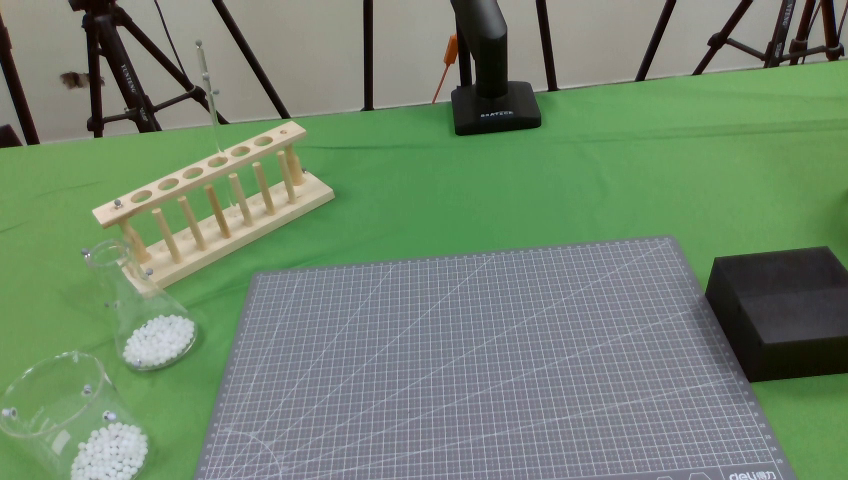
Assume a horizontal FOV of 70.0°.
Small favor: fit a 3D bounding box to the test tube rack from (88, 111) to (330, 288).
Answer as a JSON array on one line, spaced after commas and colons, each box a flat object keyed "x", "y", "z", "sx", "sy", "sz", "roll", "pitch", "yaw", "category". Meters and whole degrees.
[{"x": -0.233, "y": -0.052, "z": 0.690, "sx": 0.242, "sy": 0.086, "sz": 0.066, "roll": -32, "pitch": 47, "yaw": -26, "category": "test tube rack"}]

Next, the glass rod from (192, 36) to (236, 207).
[{"x": -0.230, "y": -0.123, "z": 0.669, "sx": 0.008, "sy": 0.201, "sz": 0.008, "roll": -1, "pitch": 34, "yaw": 1, "category": "glass rod"}]

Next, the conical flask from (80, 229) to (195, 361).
[{"x": -0.266, "y": 0.047, "z": 0.555, "sx": 0.075, "sy": 0.123, "sz": 0.074, "roll": -4, "pitch": 41, "yaw": 4, "category": "conical flask"}]

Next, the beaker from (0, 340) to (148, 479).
[{"x": -0.266, "y": 0.138, "z": 0.471, "sx": 0.074, "sy": 0.101, "sz": 0.083, "roll": -7, "pitch": 41, "yaw": 0, "category": "beaker"}]
